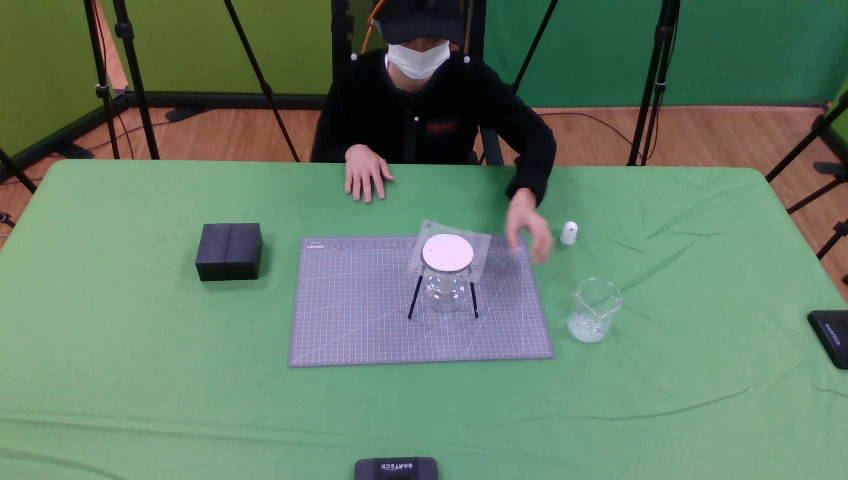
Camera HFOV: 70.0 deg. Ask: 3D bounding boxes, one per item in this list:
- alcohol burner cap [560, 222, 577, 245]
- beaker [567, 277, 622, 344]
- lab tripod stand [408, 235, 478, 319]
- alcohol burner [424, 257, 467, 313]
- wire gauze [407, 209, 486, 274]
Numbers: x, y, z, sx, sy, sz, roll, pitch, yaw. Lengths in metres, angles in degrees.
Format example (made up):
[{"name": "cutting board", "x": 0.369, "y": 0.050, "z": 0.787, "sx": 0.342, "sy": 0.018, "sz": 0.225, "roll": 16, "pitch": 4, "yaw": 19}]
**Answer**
[{"name": "alcohol burner cap", "x": 0.295, "y": -0.016, "z": 1.224, "sx": 0.034, "sy": 0.048, "sz": 0.033, "roll": 1, "pitch": 47, "yaw": -1}, {"name": "beaker", "x": 0.290, "y": 0.127, "z": 1.045, "sx": 0.074, "sy": 0.101, "sz": 0.083, "roll": 7, "pitch": 46, "yaw": 4}, {"name": "lab tripod stand", "x": 0.032, "y": 0.065, "z": 1.057, "sx": 0.148, "sy": 0.132, "sz": 0.147, "roll": 1, "pitch": 45, "yaw": -1}, {"name": "alcohol burner", "x": 0.038, "y": 0.072, "z": 1.064, "sx": 0.078, "sy": 0.120, "sz": 0.077, "roll": 1, "pitch": 46, "yaw": -1}, {"name": "wire gauze", "x": 0.036, "y": 0.003, "z": 1.001, "sx": 0.125, "sy": 0.011, "sz": 0.120, "roll": -7, "pitch": 52, "yaw": -1}]
